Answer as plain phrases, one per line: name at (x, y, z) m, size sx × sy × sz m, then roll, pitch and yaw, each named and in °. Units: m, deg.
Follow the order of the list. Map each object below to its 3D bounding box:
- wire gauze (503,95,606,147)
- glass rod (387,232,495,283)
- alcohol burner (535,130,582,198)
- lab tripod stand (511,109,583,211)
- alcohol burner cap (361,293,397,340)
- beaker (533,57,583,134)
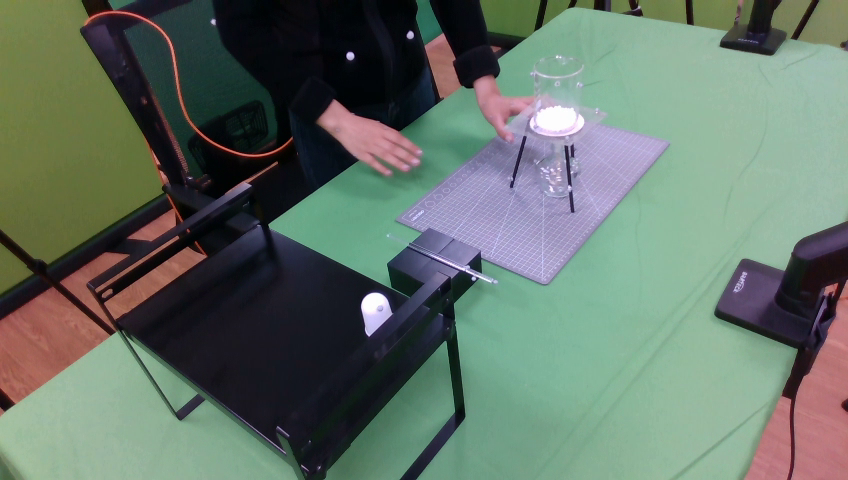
wire gauze at (0.211, -0.191, 0.976) m, size 0.120 × 0.011 × 0.125 m, roll 24°, pitch 52°, yaw 32°
glass rod at (0.020, 0.025, 0.880) m, size 0.198 × 0.008 × 0.008 m, roll 23°, pitch 49°, yaw 32°
alcohol burner at (0.227, -0.132, 1.021) m, size 0.078 × 0.119 × 0.077 m, roll -6°, pitch 40°, yaw 5°
lab tripod stand at (0.220, -0.138, 1.014) m, size 0.148 × 0.132 × 0.147 m, roll -3°, pitch 41°, yaw 3°
alcohol burner cap at (-0.046, 0.073, 0.601) m, size 0.034 × 0.048 × 0.033 m, roll -4°, pitch 41°, yaw 4°
beaker at (0.208, -0.225, 0.941) m, size 0.073 × 0.101 × 0.084 m, roll 11°, pitch 44°, yaw 20°
